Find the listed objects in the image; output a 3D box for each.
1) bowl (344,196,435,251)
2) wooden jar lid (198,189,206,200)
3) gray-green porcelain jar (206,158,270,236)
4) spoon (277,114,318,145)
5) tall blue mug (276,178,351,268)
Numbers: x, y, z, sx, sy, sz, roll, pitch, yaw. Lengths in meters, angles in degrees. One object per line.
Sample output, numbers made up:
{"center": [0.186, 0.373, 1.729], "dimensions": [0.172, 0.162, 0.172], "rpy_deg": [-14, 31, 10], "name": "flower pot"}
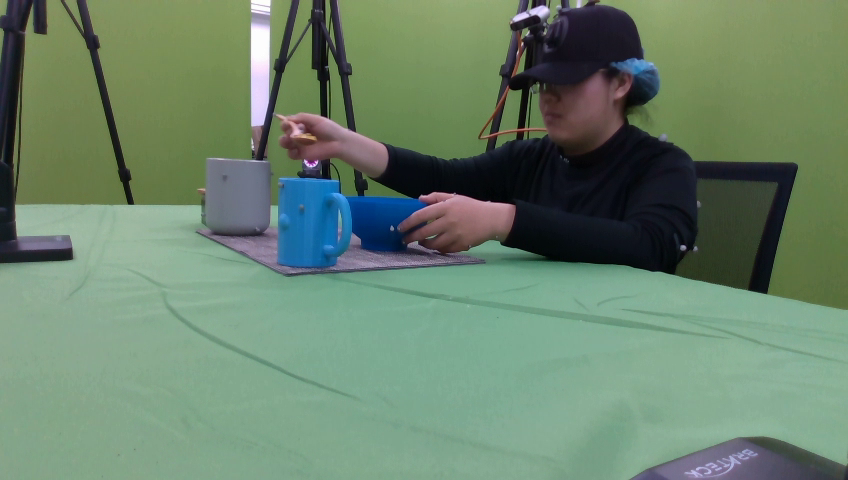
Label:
{"center": [-0.061, -0.026, 0.945], "dimensions": [0.151, 0.077, 0.151], "rpy_deg": [3, 7, 0], "name": "bowl"}
{"center": [-0.382, -0.088, 1.175], "dimensions": [0.108, 0.020, 0.108], "rpy_deg": [3, 8, 0], "name": "wooden jar lid"}
{"center": [-0.316, -0.074, 1.031], "dimensions": [0.106, 0.126, 0.106], "rpy_deg": [3, 7, 0], "name": "gray-green porcelain jar"}
{"center": [-0.230, -0.199, 1.070], "dimensions": [0.042, 0.021, 0.193], "rpy_deg": [4, 24, -29], "name": "spoon"}
{"center": [-0.134, -0.022, 0.766], "dimensions": [0.107, 0.108, 0.078], "rpy_deg": [4, 7, 12], "name": "tall blue mug"}
